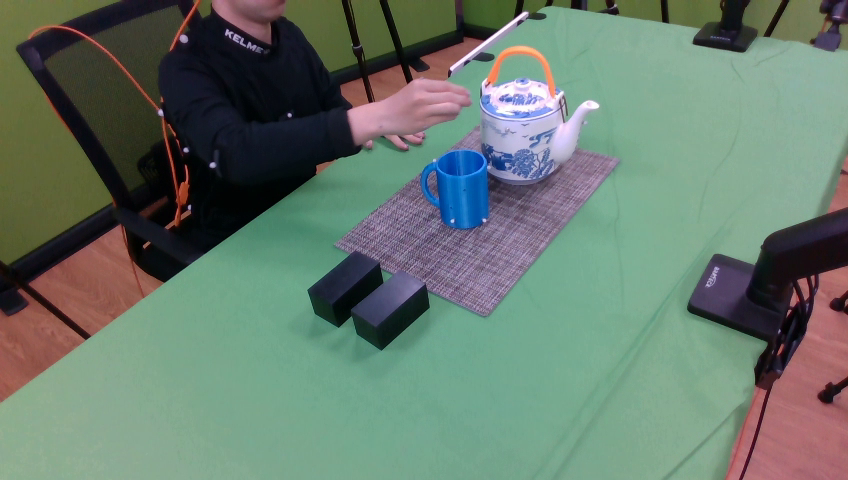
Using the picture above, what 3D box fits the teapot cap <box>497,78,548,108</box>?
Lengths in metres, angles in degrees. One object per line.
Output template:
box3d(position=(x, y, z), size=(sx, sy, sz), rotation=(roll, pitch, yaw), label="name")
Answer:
box3d(position=(0.164, -0.246, 1.009), size=(0.085, 0.044, 0.084), rotation=(-4, 44, 4), label="teapot cap")

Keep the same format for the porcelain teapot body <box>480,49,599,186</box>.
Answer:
box3d(position=(0.193, -0.208, 1.023), size=(0.204, 0.226, 0.145), rotation=(16, 46, 25), label="porcelain teapot body")

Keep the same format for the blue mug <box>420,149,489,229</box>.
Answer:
box3d(position=(0.048, -0.085, 0.991), size=(0.116, 0.106, 0.082), rotation=(9, 43, 19), label="blue mug")
